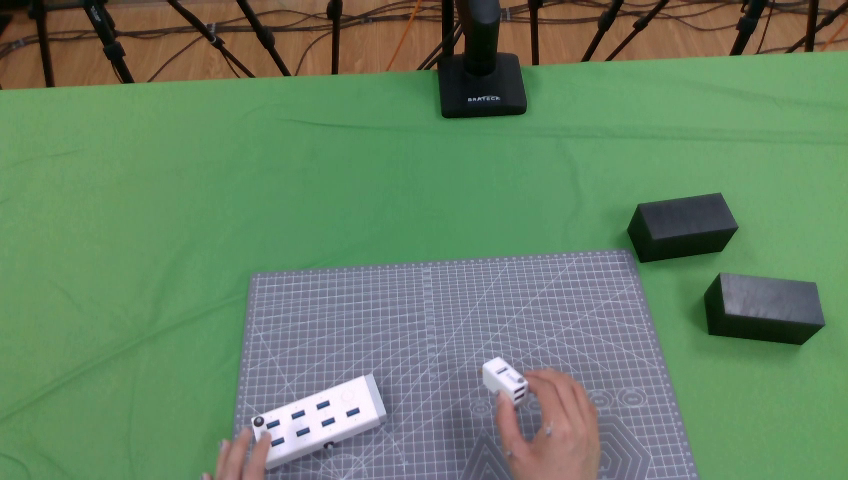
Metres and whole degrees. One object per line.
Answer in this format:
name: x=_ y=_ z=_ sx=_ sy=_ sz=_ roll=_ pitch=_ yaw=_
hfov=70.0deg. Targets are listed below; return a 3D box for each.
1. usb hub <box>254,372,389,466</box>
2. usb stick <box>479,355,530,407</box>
usb hub: x=-0.102 y=0.176 z=0.603 sx=0.125 sy=0.025 sz=0.049 roll=-18 pitch=58 yaw=-11
usb stick: x=0.073 y=0.128 z=0.568 sx=0.021 sy=0.027 sz=0.058 roll=-22 pitch=29 yaw=-25
